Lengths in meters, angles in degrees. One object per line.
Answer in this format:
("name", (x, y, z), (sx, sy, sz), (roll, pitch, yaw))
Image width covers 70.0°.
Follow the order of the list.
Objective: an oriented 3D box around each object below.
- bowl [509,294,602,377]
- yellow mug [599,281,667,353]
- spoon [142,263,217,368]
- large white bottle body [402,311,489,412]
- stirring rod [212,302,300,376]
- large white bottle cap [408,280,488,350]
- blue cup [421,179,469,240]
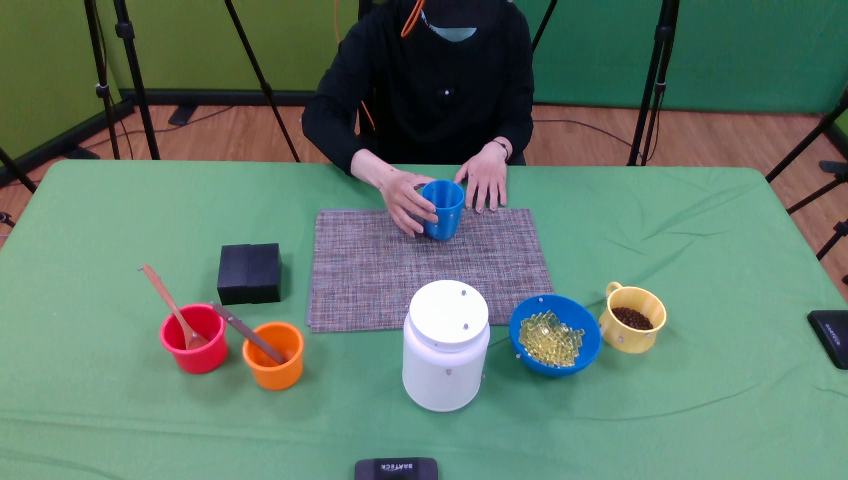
("bowl", (0.211, 0.172, 1.007), (0.151, 0.077, 0.150), (2, 46, -2))
("yellow mug", (0.359, 0.127, 1.069), (0.100, 0.064, 0.130), (-12, 47, -14))
("spoon", (-0.392, 0.120, 0.968), (0.041, 0.021, 0.194), (-33, 100, -29))
("large white bottle body", (0.031, 0.163, 0.928), (0.131, 0.185, 0.130), (2, 46, -1))
("stirring rod", (-0.261, 0.156, 0.948), (0.177, 0.006, 0.014), (45, 45, -20))
("large white bottle cap", (0.034, 0.105, 0.867), (0.115, 0.018, 0.114), (2, 46, -1))
("blue cup", (0.034, -0.055, 1.190), (0.093, 0.101, 0.092), (2, 47, -2))
